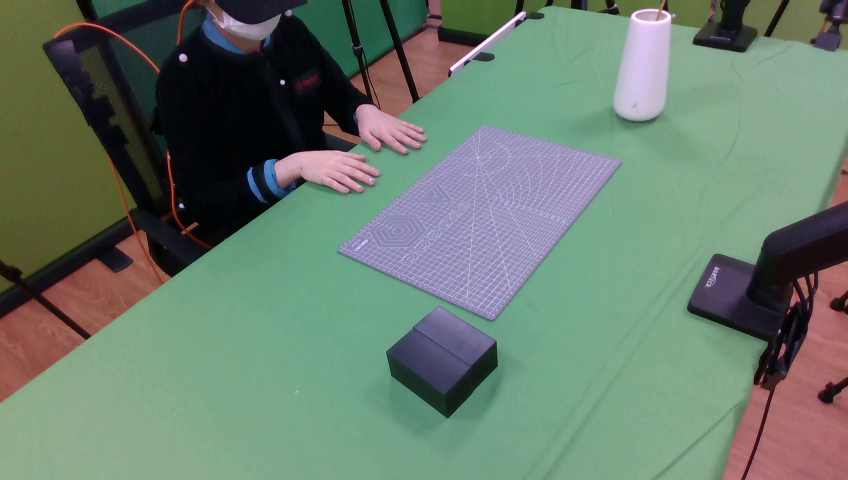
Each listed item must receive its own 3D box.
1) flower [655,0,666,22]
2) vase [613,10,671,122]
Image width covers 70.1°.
[{"bbox_3d":[0.427,-0.398,1.108,0.038,0.362,0.043,-3,32,-21],"label":"flower"},{"bbox_3d":[0.418,-0.326,1.151,0.098,0.201,0.097,-4,42,4],"label":"vase"}]
